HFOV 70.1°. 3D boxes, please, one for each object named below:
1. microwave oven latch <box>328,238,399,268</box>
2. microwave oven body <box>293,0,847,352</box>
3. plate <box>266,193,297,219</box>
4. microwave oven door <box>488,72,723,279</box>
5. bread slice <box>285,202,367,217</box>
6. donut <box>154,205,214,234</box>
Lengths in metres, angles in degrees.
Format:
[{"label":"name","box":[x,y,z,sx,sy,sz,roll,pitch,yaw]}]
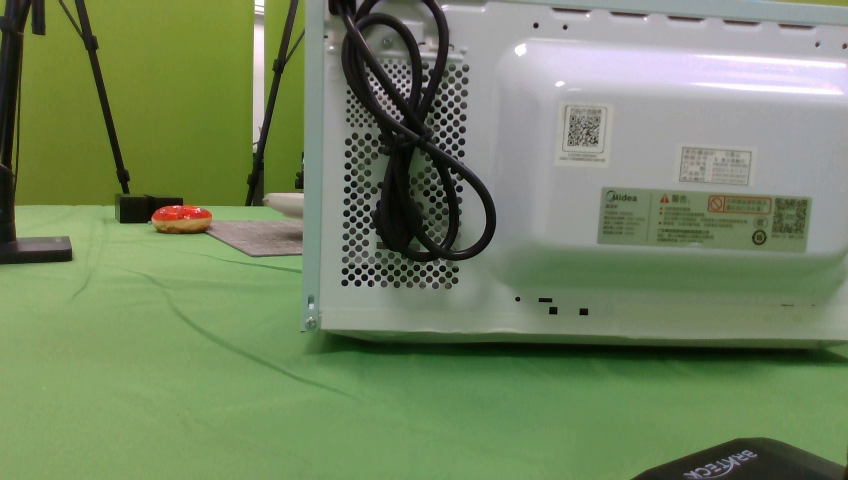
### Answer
[{"label":"microwave oven latch","box":[-0.069,0.015,0.694,0.079,0.029,0.030,3,7,-3]},{"label":"microwave oven body","box":[0.122,-0.055,0.550,0.442,0.260,0.325,3,7,-5]},{"label":"plate","box":[-0.171,-0.057,1.065,0.208,0.039,0.207,4,6,0]},{"label":"microwave oven door","box":[0.226,-0.093,0.842,0.039,0.243,0.354,-1,7,-36]},{"label":"bread slice","box":[-0.175,-0.055,1.058,0.104,0.019,0.132,5,6,22]},{"label":"donut","box":[-0.426,-0.037,1.075,0.099,0.048,0.099,2,12,0]}]
